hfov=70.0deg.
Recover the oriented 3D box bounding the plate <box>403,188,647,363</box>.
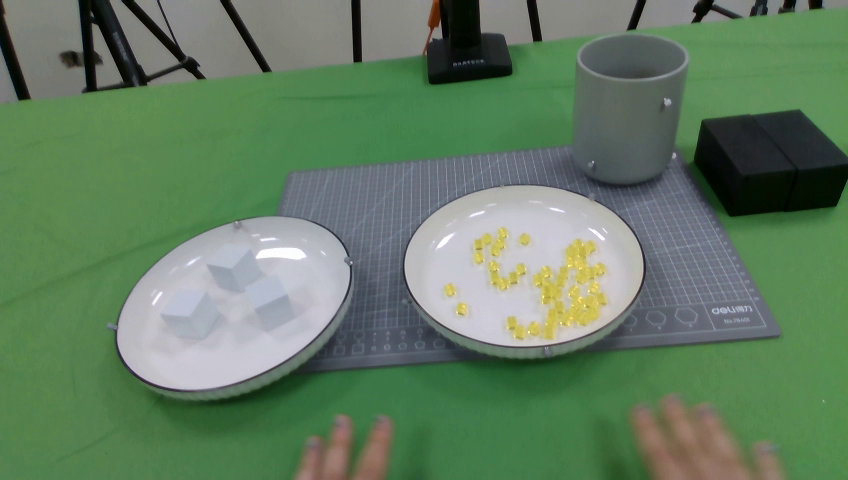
[{"bbox_3d":[0.087,0.029,0.537,0.207,0.039,0.205,-5,41,4],"label":"plate"}]

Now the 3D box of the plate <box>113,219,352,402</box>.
[{"bbox_3d":[-0.164,0.061,0.543,0.209,0.038,0.207,-6,41,5],"label":"plate"}]

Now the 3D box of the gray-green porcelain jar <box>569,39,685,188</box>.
[{"bbox_3d":[0.205,-0.127,0.627,0.106,0.128,0.105,-5,41,5],"label":"gray-green porcelain jar"}]
